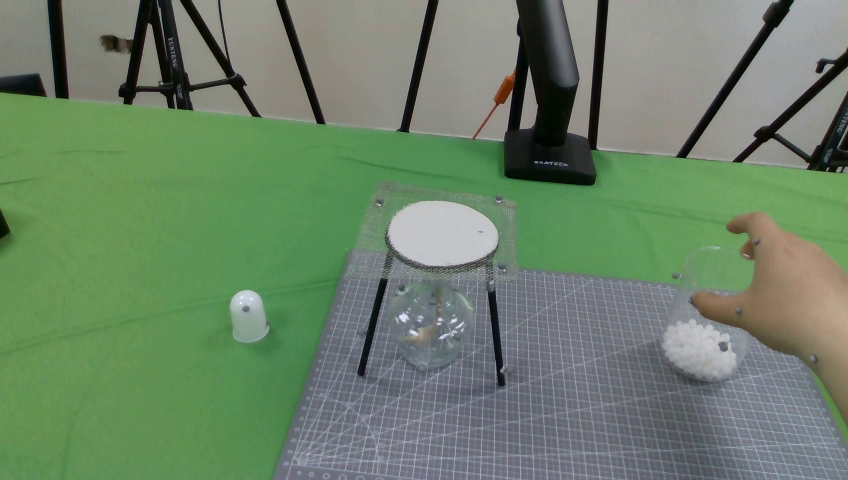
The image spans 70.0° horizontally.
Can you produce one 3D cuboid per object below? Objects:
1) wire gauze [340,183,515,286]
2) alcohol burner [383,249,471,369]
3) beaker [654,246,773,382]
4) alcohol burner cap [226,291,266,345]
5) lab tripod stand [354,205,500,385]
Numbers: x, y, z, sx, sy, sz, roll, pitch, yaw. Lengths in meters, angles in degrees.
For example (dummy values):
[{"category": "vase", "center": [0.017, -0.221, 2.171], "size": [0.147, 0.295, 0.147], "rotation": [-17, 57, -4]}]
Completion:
[{"category": "wire gauze", "center": [0.008, -0.005, 0.466], "size": [0.121, 0.011, 0.124], "rotation": [6, 36, 3]}, {"category": "alcohol burner", "center": [0.004, 0.054, 0.516], "size": [0.078, 0.120, 0.077], "rotation": [4, 39, -3]}, {"category": "beaker", "center": [0.246, 0.069, 0.526], "size": [0.073, 0.101, 0.083], "rotation": [13, 40, 16]}, {"category": "alcohol burner cap", "center": [-0.161, 0.067, 0.545], "size": [0.034, 0.048, 0.033], "rotation": [3, 39, -2]}, {"category": "lab tripod stand", "center": [0.006, 0.045, 0.511], "size": [0.148, 0.132, 0.147], "rotation": [2, 37, -1]}]
